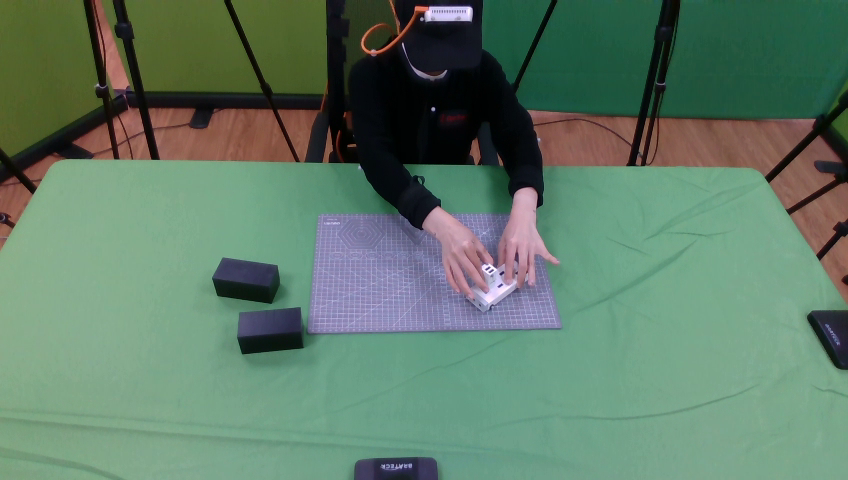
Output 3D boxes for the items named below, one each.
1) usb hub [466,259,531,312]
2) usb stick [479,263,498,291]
[{"bbox_3d":[0.139,0.083,1.121,0.125,0.025,0.049,-32,55,-29],"label":"usb hub"},{"bbox_3d":[0.114,0.071,1.082,0.021,0.059,0.027,-33,55,-30],"label":"usb stick"}]
